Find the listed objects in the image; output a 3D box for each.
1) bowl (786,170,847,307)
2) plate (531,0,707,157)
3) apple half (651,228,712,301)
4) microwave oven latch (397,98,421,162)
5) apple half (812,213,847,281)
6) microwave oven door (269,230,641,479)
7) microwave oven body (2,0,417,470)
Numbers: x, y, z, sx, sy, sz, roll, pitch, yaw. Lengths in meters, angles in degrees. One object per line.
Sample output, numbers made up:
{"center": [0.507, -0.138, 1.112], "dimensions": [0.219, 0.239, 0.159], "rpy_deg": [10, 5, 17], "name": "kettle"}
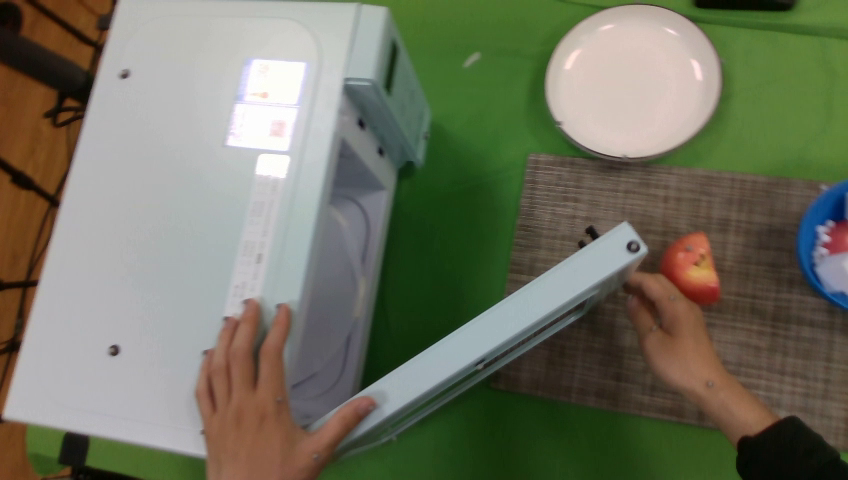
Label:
{"center": [0.461, 0.006, 0.650], "dimensions": [0.151, 0.077, 0.150], "rpy_deg": [-2, 77, 11], "name": "bowl"}
{"center": [0.241, -0.199, 0.762], "dimensions": [0.207, 0.039, 0.206], "rpy_deg": [-2, 78, 10], "name": "plate"}
{"center": [0.284, 0.031, 0.682], "dimensions": [0.053, 0.075, 0.080], "rpy_deg": [-13, 79, 13], "name": "apple half"}
{"center": [-0.022, -0.142, 0.781], "dimensions": [0.030, 0.029, 0.079], "rpy_deg": [6, 80, 12], "name": "microwave oven latch"}
{"center": [0.461, 0.006, 0.645], "dimensions": [0.081, 0.033, 0.081], "rpy_deg": [-3, 77, 11], "name": "apple half"}
{"center": [0.043, 0.119, 0.607], "dimensions": [0.356, 0.245, 0.039], "rpy_deg": [-34, 73, 2], "name": "microwave oven door"}
{"center": [-0.210, -0.005, 0.688], "dimensions": [0.325, 0.261, 0.440], "rpy_deg": [6, 80, 12], "name": "microwave oven body"}
